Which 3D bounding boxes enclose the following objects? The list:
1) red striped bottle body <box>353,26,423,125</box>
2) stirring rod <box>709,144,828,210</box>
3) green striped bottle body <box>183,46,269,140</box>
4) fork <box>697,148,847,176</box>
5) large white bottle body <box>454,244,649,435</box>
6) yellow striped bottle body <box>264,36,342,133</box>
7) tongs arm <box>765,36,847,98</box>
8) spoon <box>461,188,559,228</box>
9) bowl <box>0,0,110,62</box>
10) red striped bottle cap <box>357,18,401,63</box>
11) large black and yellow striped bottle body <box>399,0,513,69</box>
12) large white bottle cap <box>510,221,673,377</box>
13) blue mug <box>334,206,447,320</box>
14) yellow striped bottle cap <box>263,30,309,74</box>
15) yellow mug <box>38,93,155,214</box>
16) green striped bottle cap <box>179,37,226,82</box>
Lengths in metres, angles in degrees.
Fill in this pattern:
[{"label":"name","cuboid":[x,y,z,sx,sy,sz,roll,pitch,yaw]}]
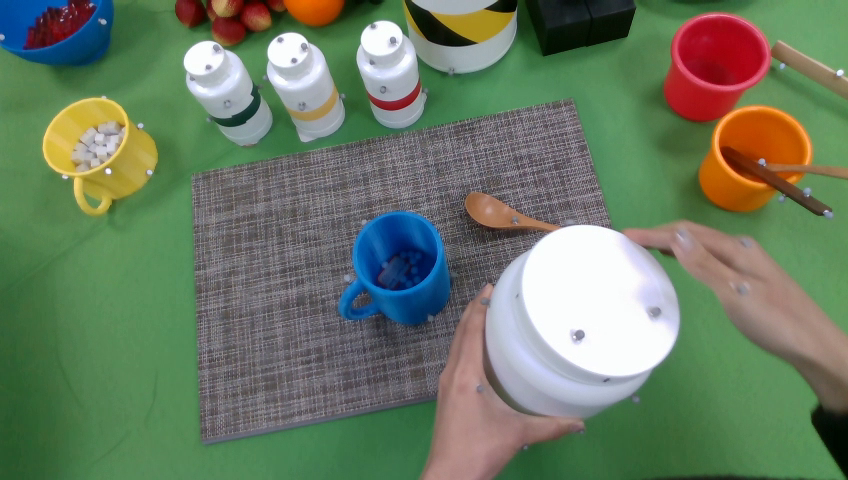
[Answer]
[{"label":"red striped bottle body","cuboid":[-0.039,-0.183,0.660,0.063,0.120,0.062,-3,68,8]},{"label":"stirring rod","cuboid":[0.319,-0.063,0.574,0.014,0.006,0.174,-9,26,-1]},{"label":"green striped bottle body","cuboid":[-0.221,-0.167,0.672,0.063,0.120,0.063,-2,69,5]},{"label":"fork","cuboid":[0.350,-0.068,0.565,0.028,0.019,0.205,-48,29,-12]},{"label":"large white bottle body","cuboid":[0.105,0.078,0.499,0.131,0.185,0.129,5,61,-8]},{"label":"yellow striped bottle body","cuboid":[-0.134,-0.174,0.666,0.063,0.121,0.062,-2,69,6]},{"label":"tongs arm","cuboid":[0.540,-0.118,0.626,0.382,0.027,0.050,40,74,17]},{"label":"spoon","cuboid":[0.130,-0.013,0.630,0.193,0.022,0.041,18,52,11]},{"label":"bowl","cuboid":[-0.455,-0.278,0.757,0.151,0.077,0.150,-2,70,5]},{"label":"red striped bottle cap","cuboid":[-0.045,-0.202,0.611,0.044,0.018,0.044,0,68,1]},{"label":"large black and yellow striped bottle body","cuboid":[0.033,-0.291,0.658,0.130,0.185,0.130,-2,70,5]},{"label":"large white bottle cap","cuboid":[0.118,0.038,0.425,0.115,0.018,0.114,5,61,-8]},{"label":"blue mug","cuboid":[-0.035,0.035,0.584,0.116,0.106,0.082,-35,70,-7]},{"label":"yellow striped bottle cap","cuboid":[-0.140,-0.192,0.617,0.044,0.019,0.044,0,65,1]},{"label":"yellow mug","cuboid":[-0.373,-0.093,0.688,0.100,0.064,0.130,-2,70,5]},{"label":"green striped bottle cap","cuboid":[-0.227,-0.185,0.623,0.044,0.020,0.044,-1,69,3]}]
